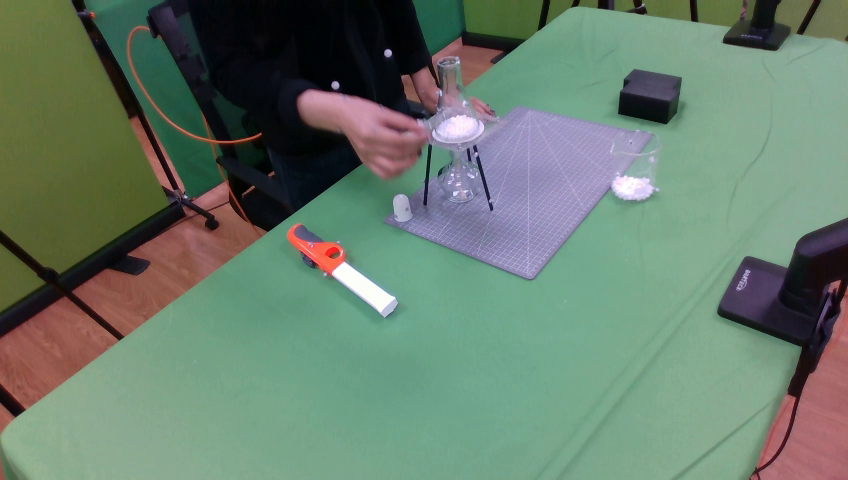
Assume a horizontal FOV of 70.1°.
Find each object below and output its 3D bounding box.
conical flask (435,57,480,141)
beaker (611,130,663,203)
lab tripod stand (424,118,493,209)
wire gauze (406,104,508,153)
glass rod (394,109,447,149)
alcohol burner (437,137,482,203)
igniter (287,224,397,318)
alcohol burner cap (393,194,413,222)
[{"bbox_3d":[0.046,-0.224,0.954,0.075,0.122,0.075,-7,39,6],"label":"conical flask"},{"bbox_3d":[0.346,-0.118,0.998,0.084,0.101,0.073,-17,40,-7],"label":"beaker"},{"bbox_3d":[0.061,-0.133,1.039,0.148,0.132,0.147,-6,39,6],"label":"lab tripod stand"},{"bbox_3d":[0.054,-0.183,0.997,0.120,0.011,0.125,25,52,38],"label":"wire gauze"},{"bbox_3d":[-0.009,-0.152,0.844,0.008,0.008,0.199,-29,5,-21],"label":"glass rod"},{"bbox_3d":[0.060,-0.125,1.045,0.078,0.119,0.077,-5,39,4],"label":"alcohol burner"},{"bbox_3d":[-0.139,0.042,0.958,0.057,0.025,0.274,-41,49,-19],"label":"igniter"},{"bbox_3d":[-0.039,-0.056,1.038,0.034,0.048,0.033,-6,40,5],"label":"alcohol burner cap"}]
